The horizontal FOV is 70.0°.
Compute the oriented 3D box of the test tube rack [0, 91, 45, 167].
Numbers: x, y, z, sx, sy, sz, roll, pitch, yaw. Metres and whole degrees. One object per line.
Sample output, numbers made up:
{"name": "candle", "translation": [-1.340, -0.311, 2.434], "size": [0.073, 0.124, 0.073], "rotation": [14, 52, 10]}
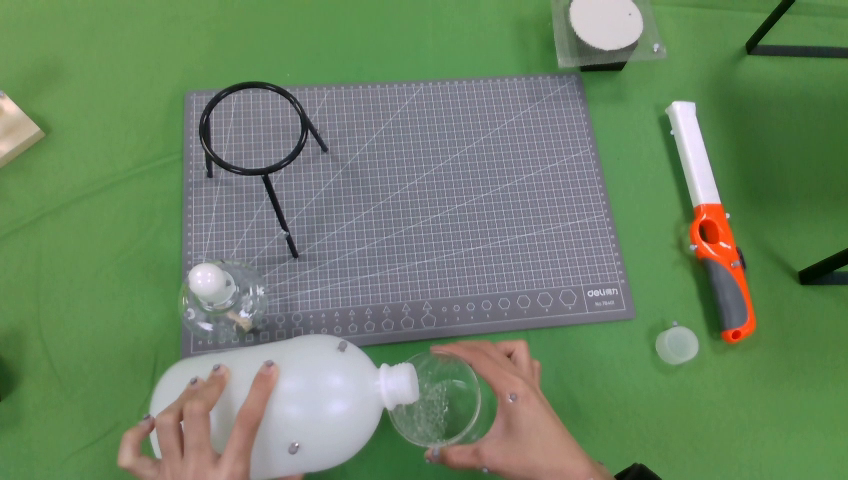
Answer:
{"name": "test tube rack", "translation": [-0.500, -0.065, 0.566], "size": [0.066, 0.085, 0.242], "rotation": [42, 72, 10]}

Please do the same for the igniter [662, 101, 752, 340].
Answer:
{"name": "igniter", "translation": [0.306, -0.028, 0.659], "size": [0.057, 0.025, 0.274], "rotation": [0, 70, -17]}

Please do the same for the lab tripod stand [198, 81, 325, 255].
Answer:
{"name": "lab tripod stand", "translation": [-0.148, -0.072, 0.573], "size": [0.148, 0.132, 0.147], "rotation": [2, 70, -6]}

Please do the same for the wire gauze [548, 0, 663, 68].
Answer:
{"name": "wire gauze", "translation": [0.201, -0.251, 0.688], "size": [0.121, 0.011, 0.124], "rotation": [-3, 71, -6]}

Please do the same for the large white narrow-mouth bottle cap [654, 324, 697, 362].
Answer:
{"name": "large white narrow-mouth bottle cap", "translation": [0.254, 0.104, 0.612], "size": [0.038, 0.024, 0.037], "rotation": [1, 70, -4]}

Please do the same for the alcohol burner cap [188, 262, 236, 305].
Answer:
{"name": "alcohol burner cap", "translation": [-0.178, 0.035, 0.504], "size": [0.034, 0.048, 0.033], "rotation": [1, 76, -4]}

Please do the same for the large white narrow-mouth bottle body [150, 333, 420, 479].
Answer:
{"name": "large white narrow-mouth bottle body", "translation": [-0.100, 0.126, 0.469], "size": [0.194, 0.102, 0.101], "rotation": [-13, 70, 10]}

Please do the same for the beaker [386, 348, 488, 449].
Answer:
{"name": "beaker", "translation": [0.014, 0.139, 0.516], "size": [0.084, 0.101, 0.073], "rotation": [3, 69, 13]}

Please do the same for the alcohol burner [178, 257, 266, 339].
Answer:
{"name": "alcohol burner", "translation": [-0.182, 0.046, 0.538], "size": [0.078, 0.119, 0.077], "rotation": [3, 68, -6]}
